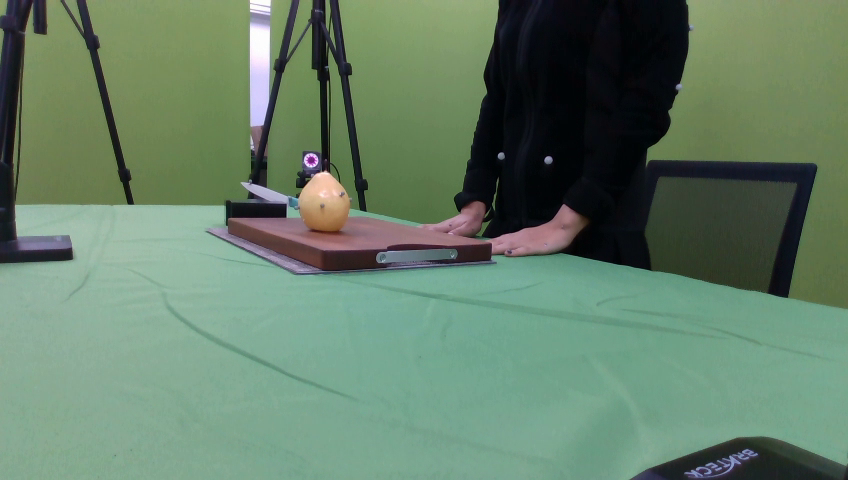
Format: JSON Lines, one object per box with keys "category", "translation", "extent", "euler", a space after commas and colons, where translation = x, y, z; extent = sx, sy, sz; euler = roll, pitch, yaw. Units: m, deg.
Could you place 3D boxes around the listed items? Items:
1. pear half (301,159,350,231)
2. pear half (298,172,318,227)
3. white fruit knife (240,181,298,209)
{"category": "pear half", "translation": [-0.143, -0.068, 0.917], "extent": [0.055, 0.110, 0.077], "euler": [8, 13, 34]}
{"category": "pear half", "translation": [-0.172, -0.062, 0.938], "extent": [0.031, 0.088, 0.071], "euler": [8, 14, 34]}
{"category": "white fruit knife", "translation": [-0.269, -0.077, 1.212], "extent": [0.208, 0.027, 0.016], "euler": [22, 4, -28]}
